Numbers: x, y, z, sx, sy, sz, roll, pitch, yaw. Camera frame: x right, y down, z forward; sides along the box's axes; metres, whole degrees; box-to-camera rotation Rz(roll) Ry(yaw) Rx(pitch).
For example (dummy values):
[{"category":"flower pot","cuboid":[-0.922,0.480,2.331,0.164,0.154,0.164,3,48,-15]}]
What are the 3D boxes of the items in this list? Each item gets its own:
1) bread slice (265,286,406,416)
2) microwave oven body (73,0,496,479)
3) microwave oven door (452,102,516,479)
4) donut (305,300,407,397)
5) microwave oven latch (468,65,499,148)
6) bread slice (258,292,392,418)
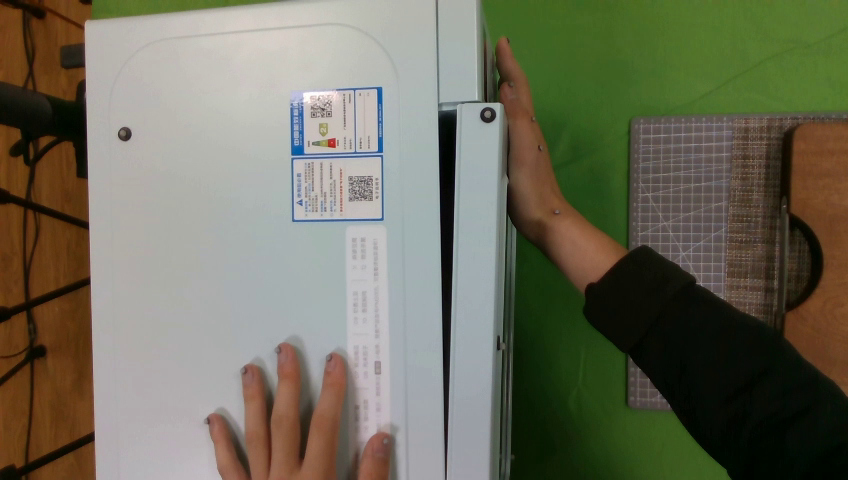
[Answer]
[{"category":"bread slice","cuboid":[-0.095,0.107,0.606,0.131,0.019,0.105,20,96,7]},{"category":"microwave oven body","cuboid":[-0.100,0.044,0.552,0.325,0.260,0.441,-1,91,10]},{"category":"microwave oven door","cuboid":[0.052,0.083,0.521,0.039,0.244,0.355,1,91,11]},{"category":"donut","cuboid":[-0.065,0.103,0.579,0.099,0.048,0.099,0,106,1]},{"category":"microwave oven latch","cuboid":[0.062,-0.135,0.618,0.030,0.029,0.079,-2,91,10]},{"category":"bread slice","cuboid":[-0.088,0.101,0.537,0.134,0.018,0.107,-4,91,23]}]
